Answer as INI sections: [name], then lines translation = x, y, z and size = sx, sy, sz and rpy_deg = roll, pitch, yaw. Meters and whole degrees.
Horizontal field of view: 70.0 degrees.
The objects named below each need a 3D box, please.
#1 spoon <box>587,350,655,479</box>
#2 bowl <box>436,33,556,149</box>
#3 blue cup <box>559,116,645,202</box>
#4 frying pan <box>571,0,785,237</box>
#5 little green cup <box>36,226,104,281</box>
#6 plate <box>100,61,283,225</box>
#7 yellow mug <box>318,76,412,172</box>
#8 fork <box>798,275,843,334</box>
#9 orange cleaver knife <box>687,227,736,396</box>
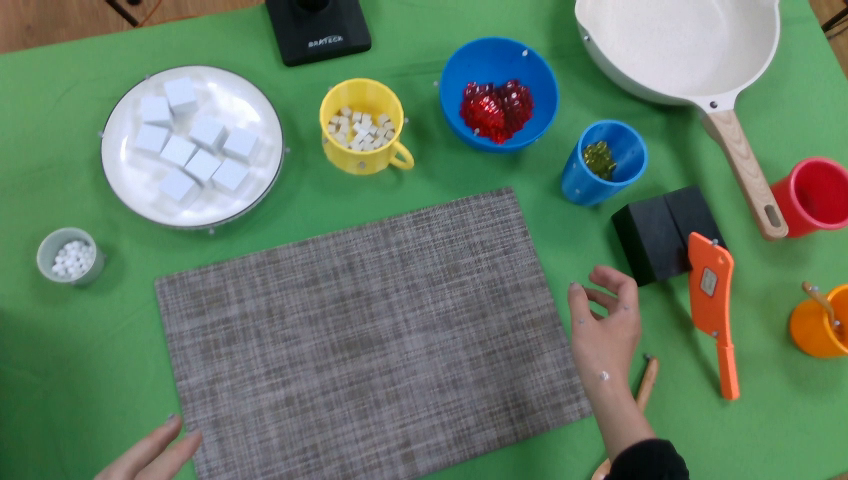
[spoon]
translation = 0.243, 0.218, 0.723
size = 0.041, 0.022, 0.193
rpy_deg = 24, 73, 13
[bowl]
translation = 0.085, -0.176, 0.776
size = 0.152, 0.077, 0.150
rpy_deg = 2, 76, -7
[blue cup]
translation = 0.213, -0.092, 0.758
size = 0.093, 0.100, 0.092
rpy_deg = 2, 73, -6
[frying pan]
translation = 0.363, -0.225, 0.811
size = 0.307, 0.103, 0.484
rpy_deg = -11, 69, -9
[little green cup]
translation = -0.394, 0.018, 0.680
size = 0.062, 0.039, 0.061
rpy_deg = 2, 76, -8
[plate]
translation = -0.274, -0.115, 0.733
size = 0.208, 0.039, 0.206
rpy_deg = 2, 75, -7
[yellow mug]
translation = -0.068, -0.134, 0.751
size = 0.131, 0.064, 0.099
rpy_deg = 36, 74, 2
[fork]
translation = 0.477, 0.078, 0.724
size = 0.209, 0.018, 0.028
rpy_deg = 29, 67, -45
[orange cleaver knife]
translation = 0.350, 0.088, 0.740
size = 0.012, 0.076, 0.212
rpy_deg = -17, 107, -11
